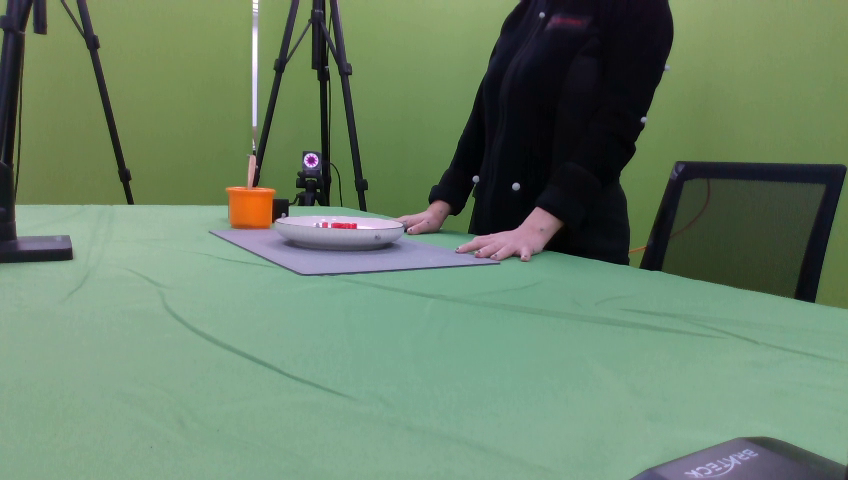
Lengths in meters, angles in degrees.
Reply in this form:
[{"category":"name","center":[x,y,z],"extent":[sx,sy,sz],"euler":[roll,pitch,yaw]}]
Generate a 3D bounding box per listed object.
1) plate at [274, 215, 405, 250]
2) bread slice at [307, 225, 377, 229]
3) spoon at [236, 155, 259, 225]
[{"category":"plate","center":[-0.136,-0.013,0.981],"extent":[0.209,0.038,0.209],"euler":[2,7,0]},{"category":"bread slice","center":[-0.133,-0.011,0.974],"extent":[0.135,0.018,0.106],"euler":[-3,8,-33]},{"category":"spoon","center":[-0.343,-0.102,1.196],"extent":[0.042,0.193,0.021],"euler":[-1,-36,-8]}]
